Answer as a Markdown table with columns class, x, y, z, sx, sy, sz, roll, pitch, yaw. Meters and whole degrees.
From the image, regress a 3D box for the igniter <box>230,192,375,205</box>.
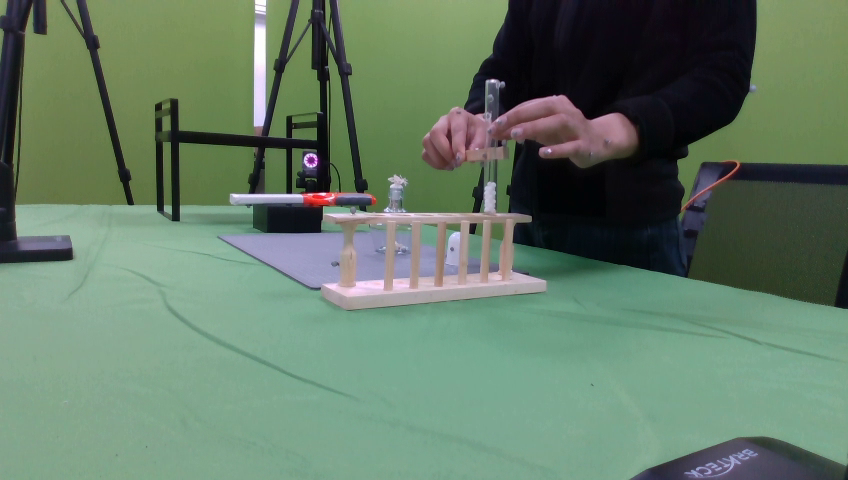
| class | x | y | z | sx | sy | sz | roll | pitch | yaw |
| --- | --- | --- | --- | --- | --- | --- | --- | --- | --- |
| igniter | -0.226 | -0.079 | 1.161 | 0.278 | 0.025 | 0.057 | -2 | 15 | -28 |

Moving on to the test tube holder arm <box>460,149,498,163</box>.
| class | x | y | z | sx | sy | sz | roll | pitch | yaw |
| --- | --- | --- | --- | --- | --- | --- | --- | --- | --- |
| test tube holder arm | 0.062 | -0.096 | 0.695 | 0.010 | 0.015 | 0.087 | -9 | 10 | -17 |

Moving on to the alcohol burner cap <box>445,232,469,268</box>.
| class | x | y | z | sx | sy | sz | roll | pitch | yaw |
| --- | --- | --- | --- | --- | --- | --- | --- | --- | --- |
| alcohol burner cap | 0.046 | 0.013 | 0.829 | 0.034 | 0.048 | 0.034 | 2 | 8 | 0 |

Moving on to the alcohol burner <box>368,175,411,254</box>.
| class | x | y | z | sx | sy | sz | roll | pitch | yaw |
| --- | --- | --- | --- | --- | --- | --- | --- | --- | --- |
| alcohol burner | -0.045 | -0.038 | 0.912 | 0.078 | 0.119 | 0.078 | 4 | 7 | 0 |

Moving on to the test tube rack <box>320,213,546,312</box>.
| class | x | y | z | sx | sy | sz | roll | pitch | yaw |
| --- | --- | --- | --- | --- | --- | --- | --- | --- | --- |
| test tube rack | 0.018 | 0.017 | 0.638 | 0.244 | 0.085 | 0.066 | -2 | 9 | -31 |

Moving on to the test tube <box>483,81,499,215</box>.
| class | x | y | z | sx | sy | sz | roll | pitch | yaw |
| --- | --- | --- | --- | --- | --- | --- | --- | --- | --- |
| test tube | 0.074 | -0.101 | 0.676 | 0.017 | 0.150 | 0.017 | 0 | 7 | 0 |

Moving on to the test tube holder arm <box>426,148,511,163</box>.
| class | x | y | z | sx | sy | sz | roll | pitch | yaw |
| --- | --- | --- | --- | --- | --- | --- | --- | --- | --- |
| test tube holder arm | 0.049 | -0.102 | 0.738 | 0.013 | 0.015 | 0.177 | -10 | 11 | -26 |
